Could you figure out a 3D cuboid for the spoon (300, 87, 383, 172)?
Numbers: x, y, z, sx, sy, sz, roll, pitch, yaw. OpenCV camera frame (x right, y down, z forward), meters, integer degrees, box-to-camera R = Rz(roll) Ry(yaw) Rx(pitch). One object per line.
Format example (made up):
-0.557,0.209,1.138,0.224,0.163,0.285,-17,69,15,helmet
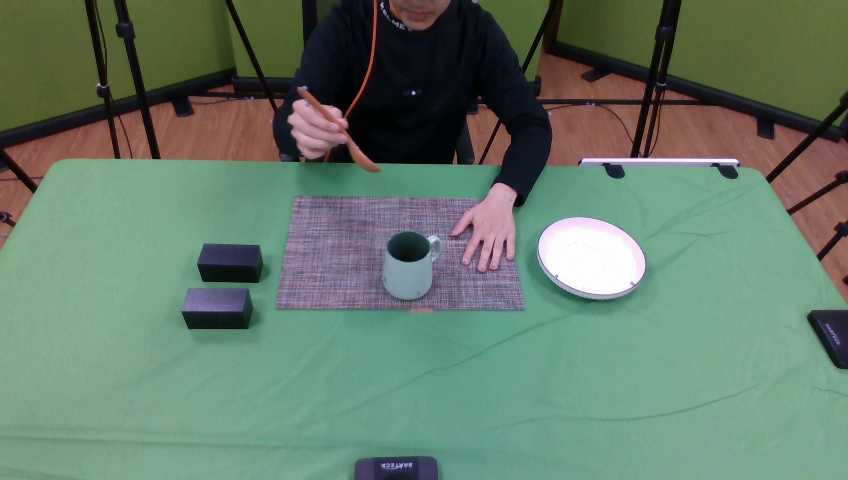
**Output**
-0.123,-0.163,0.918,0.041,0.195,0.021,16,64,44,spoon

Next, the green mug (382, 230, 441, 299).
-0.017,0.037,1.097,0.125,0.105,0.092,-34,57,-31,green mug

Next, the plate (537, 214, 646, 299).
0.321,0.035,1.176,0.209,0.038,0.208,2,47,-2,plate
